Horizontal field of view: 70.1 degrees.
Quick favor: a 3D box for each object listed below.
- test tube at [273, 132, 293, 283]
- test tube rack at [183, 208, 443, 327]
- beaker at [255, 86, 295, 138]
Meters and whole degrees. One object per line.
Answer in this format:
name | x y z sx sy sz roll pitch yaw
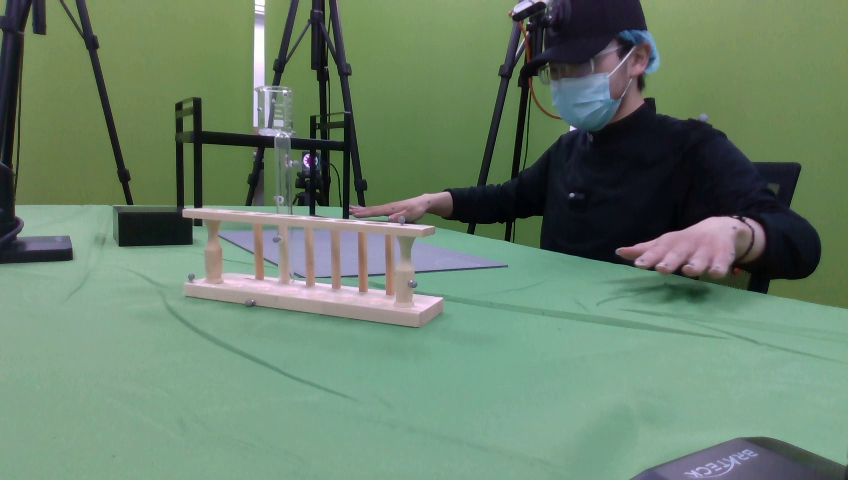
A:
test tube | -0.139 -0.030 0.596 0.017 0.150 0.017 1 9 0
test tube rack | -0.106 0.019 0.570 0.241 0.085 0.067 5 8 19
beaker | -0.309 -0.263 1.251 0.084 0.100 0.073 -4 9 -38
